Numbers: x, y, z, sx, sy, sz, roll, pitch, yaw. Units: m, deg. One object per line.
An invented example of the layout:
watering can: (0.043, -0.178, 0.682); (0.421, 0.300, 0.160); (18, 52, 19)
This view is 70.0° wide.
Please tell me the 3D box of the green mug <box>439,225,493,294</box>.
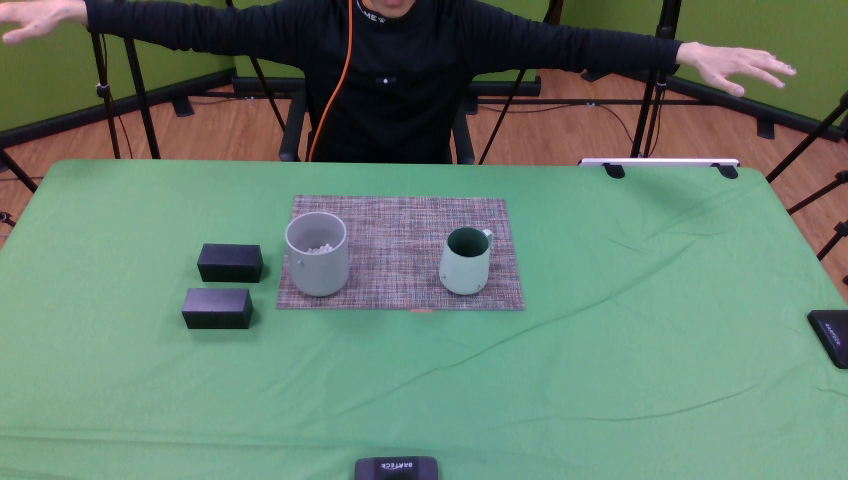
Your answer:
green mug: (0.086, 0.028, 1.113); (0.092, 0.105, 0.125); (31, 52, 24)

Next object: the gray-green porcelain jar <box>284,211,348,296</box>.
gray-green porcelain jar: (-0.188, 0.029, 1.077); (0.106, 0.127, 0.105); (2, 47, -2)
